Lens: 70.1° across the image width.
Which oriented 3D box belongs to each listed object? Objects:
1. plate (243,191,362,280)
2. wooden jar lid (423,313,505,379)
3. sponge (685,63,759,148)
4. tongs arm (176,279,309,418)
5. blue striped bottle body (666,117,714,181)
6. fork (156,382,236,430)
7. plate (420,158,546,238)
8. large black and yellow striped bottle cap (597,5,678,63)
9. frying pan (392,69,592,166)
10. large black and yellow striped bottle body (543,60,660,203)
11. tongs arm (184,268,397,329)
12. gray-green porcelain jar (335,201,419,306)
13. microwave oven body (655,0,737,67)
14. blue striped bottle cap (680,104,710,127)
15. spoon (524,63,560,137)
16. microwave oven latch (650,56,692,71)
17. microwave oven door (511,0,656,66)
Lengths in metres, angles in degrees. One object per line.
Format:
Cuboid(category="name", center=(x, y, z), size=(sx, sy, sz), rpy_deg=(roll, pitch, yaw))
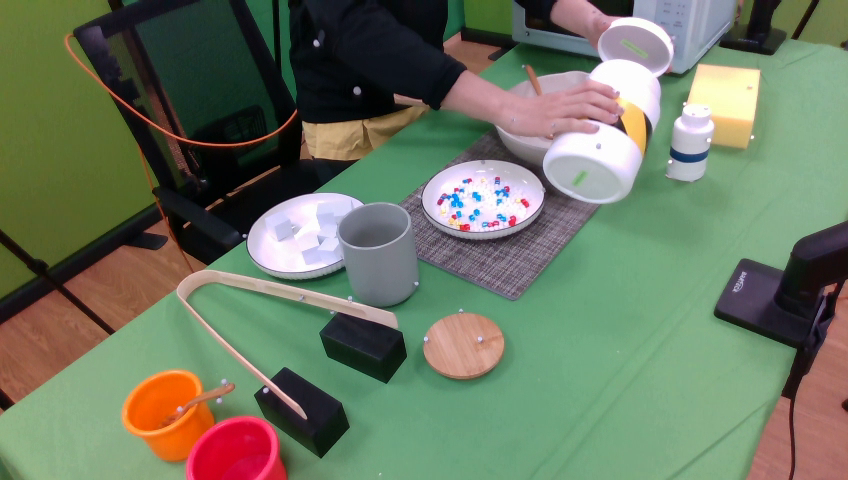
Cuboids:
Cuboid(category="plate", center=(-0.188, -0.005, 0.992), size=(0.207, 0.039, 0.206), rpy_deg=(-4, 41, 4))
Cuboid(category="wooden jar lid", center=(0.053, 0.142, 0.800), size=(0.108, 0.021, 0.108), rpy_deg=(-5, 39, 4))
Cuboid(category="sponge", center=(0.569, -0.263, 1.164), size=(0.117, 0.061, 0.207), rpy_deg=(13, 45, 22))
Cuboid(category="tongs arm", center=(-0.255, 0.132, 0.801), size=(0.028, 0.028, 0.384), rpy_deg=(-41, 40, -23))
Cuboid(category="blue striped bottle body", center=(0.450, -0.166, 1.022), size=(0.063, 0.121, 0.063), rpy_deg=(-5, 41, 5))
Cuboid(category="fork", center=(-0.262, 0.189, 0.690), size=(0.018, 0.206, 0.028), rpy_deg=(49, 43, -7))
Cuboid(category="plate", center=(0.099, -0.067, 1.017), size=(0.209, 0.038, 0.208), rpy_deg=(-4, 40, 4))
Cuboid(category="large black and yellow striped bottle cap", center=(0.314, -0.306, 0.895), size=(0.115, 0.019, 0.114), rpy_deg=(-1, 56, 1))
Cuboid(category="frying pan", center=(0.175, -0.249, 1.166), size=(0.487, 0.103, 0.306), rpy_deg=(12, 43, 9))
Cuboid(category="large black and yellow striped bottle body", center=(0.269, -0.163, 0.898), size=(0.130, 0.131, 0.184), rpy_deg=(17, 67, 26))
Cuboid(category="tongs arm", center=(-0.202, 0.084, 0.848), size=(0.382, 0.027, 0.051), rpy_deg=(11, 45, 35))
Cuboid(category="gray-green porcelain jar", center=(-0.064, 0.024, 0.872), size=(0.106, 0.127, 0.105), rpy_deg=(-4, 41, 4))
Cuboid(category="microwave oven body", center=(0.475, -0.602, 1.411), size=(0.438, 0.261, 0.327), rpy_deg=(23, 50, 32))
Cuboid(category="blue striped bottle cap", center=(0.443, -0.205, 0.989), size=(0.044, 0.021, 0.044), rpy_deg=(-1, 41, 1))
Cuboid(category="spoon", center=(0.234, -0.281, 1.203), size=(0.042, 0.022, 0.192), rpy_deg=(-12, 68, -2))
Cuboid(category="microwave oven latch", center=(0.530, -0.386, 1.301), size=(0.078, 0.029, 0.030), rpy_deg=(23, 50, 32))
Cuboid(category="microwave oven door", center=(0.351, -0.540, 1.349), size=(0.353, 0.245, 0.039), rpy_deg=(24, 50, 31))
